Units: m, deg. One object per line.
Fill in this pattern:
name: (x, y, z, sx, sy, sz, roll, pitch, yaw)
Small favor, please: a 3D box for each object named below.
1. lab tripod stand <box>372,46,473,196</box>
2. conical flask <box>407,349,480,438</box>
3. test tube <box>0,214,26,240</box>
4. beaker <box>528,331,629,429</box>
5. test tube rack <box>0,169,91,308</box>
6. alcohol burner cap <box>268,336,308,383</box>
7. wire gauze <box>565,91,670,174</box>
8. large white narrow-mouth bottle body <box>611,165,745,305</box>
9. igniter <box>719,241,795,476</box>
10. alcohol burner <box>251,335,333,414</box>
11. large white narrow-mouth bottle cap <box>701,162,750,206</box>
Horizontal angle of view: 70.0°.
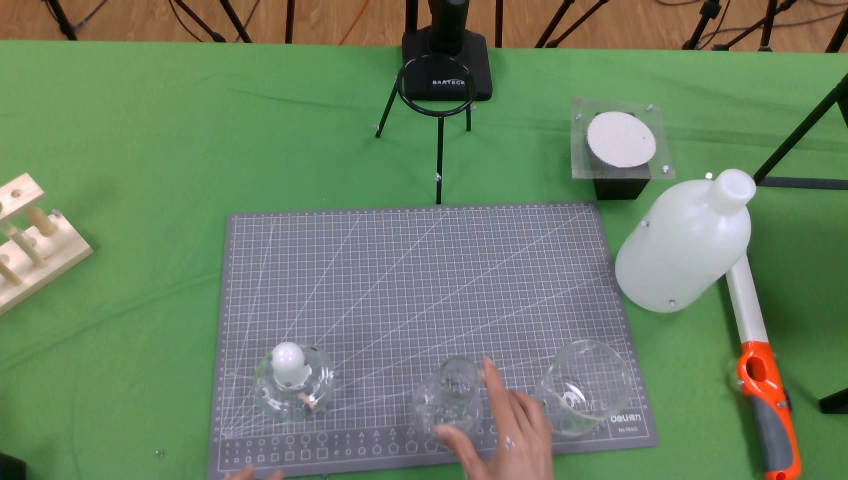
lab tripod stand: (0.007, -0.147, 0.720, 0.148, 0.132, 0.147, 3, 63, -6)
conical flask: (0.023, 0.139, 0.572, 0.075, 0.123, 0.074, 2, 61, -4)
test tube: (-0.436, -0.040, 0.591, 0.017, 0.151, 0.017, 0, 60, 0)
beaker: (0.144, 0.142, 0.595, 0.084, 0.101, 0.073, -5, 62, -7)
test tube rack: (-0.474, 0.040, 0.601, 0.066, 0.086, 0.242, 42, 66, 16)
alcohol burner cap: (-0.123, 0.105, 0.540, 0.034, 0.048, 0.033, 1, 56, -2)
wire gauze: (0.235, -0.132, 0.749, 0.121, 0.011, 0.124, 5, 61, -3)
large white narrow-mouth bottle body: (0.273, -0.010, 0.638, 0.102, 0.196, 0.101, 2, 61, -3)
igniter: (0.363, 0.117, 0.674, 0.057, 0.025, 0.274, 9, 61, -13)
alcohol burner: (-0.126, 0.121, 0.572, 0.078, 0.120, 0.077, 3, 60, -6)
large white narrow-mouth bottle cap: (0.279, -0.053, 0.563, 0.038, 0.024, 0.037, 2, 62, -3)
